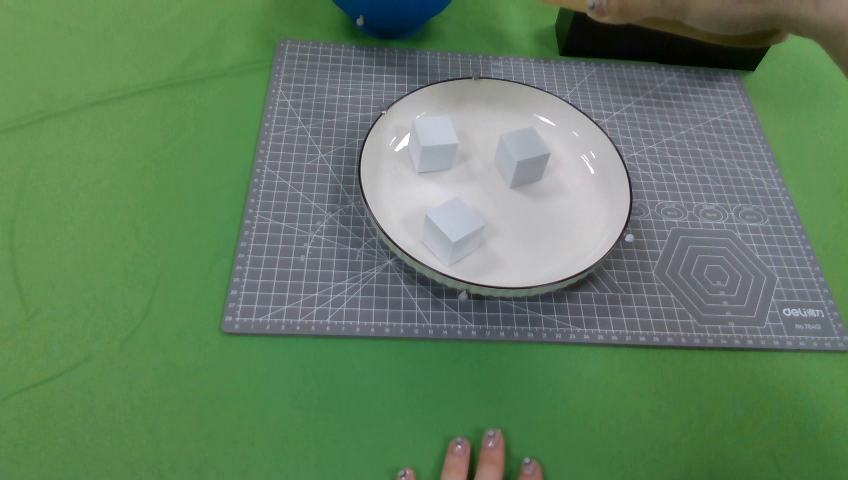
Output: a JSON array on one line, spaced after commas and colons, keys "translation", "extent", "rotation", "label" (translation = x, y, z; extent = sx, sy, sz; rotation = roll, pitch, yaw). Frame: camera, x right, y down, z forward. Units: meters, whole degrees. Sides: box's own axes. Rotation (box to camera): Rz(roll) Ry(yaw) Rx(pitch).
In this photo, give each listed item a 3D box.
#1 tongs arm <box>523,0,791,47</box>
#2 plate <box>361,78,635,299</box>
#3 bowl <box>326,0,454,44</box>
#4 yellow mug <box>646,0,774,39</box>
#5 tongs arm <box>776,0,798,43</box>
[{"translation": [0.045, -0.190, 0.423], "extent": [0.384, 0.028, 0.028], "rotation": [30, 42, 34], "label": "tongs arm"}, {"translation": [0.056, -0.042, 0.471], "extent": [0.208, 0.039, 0.205], "rotation": [3, 56, -4], "label": "plate"}, {"translation": [-0.034, -0.242, 0.575], "extent": [0.151, 0.077, 0.150], "rotation": [2, 56, -3], "label": "bowl"}, {"translation": [0.262, -0.237, 0.549], "extent": [0.131, 0.064, 0.099], "rotation": [-11, 58, -12], "label": "yellow mug"}, {"translation": [0.087, -0.213, 0.451], "extent": [0.051, 0.027, 0.381], "rotation": [-28, 45, -32], "label": "tongs arm"}]
